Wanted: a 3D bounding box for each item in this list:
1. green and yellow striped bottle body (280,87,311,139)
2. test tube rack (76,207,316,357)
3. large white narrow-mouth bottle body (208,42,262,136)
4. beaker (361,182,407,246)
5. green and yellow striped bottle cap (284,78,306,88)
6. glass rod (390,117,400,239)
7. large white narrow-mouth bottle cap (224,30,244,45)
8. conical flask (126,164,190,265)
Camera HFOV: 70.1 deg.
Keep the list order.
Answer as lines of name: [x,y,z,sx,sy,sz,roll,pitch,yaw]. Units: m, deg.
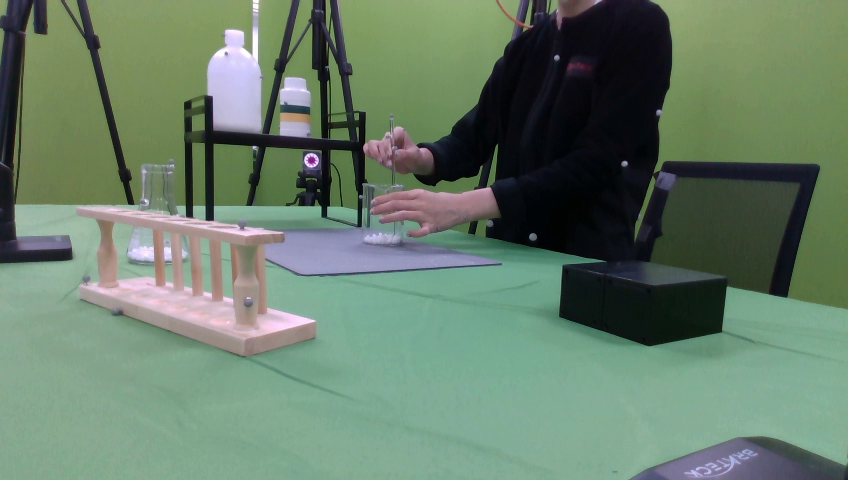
green and yellow striped bottle body: [-0.269,-0.274,1.266,0.063,0.119,0.063,3,7,0]
test tube rack: [-0.196,0.023,0.500,0.241,0.085,0.067,8,9,36]
large white narrow-mouth bottle body: [-0.369,-0.304,1.181,0.102,0.194,0.101,2,9,0]
beaker: [-0.066,-0.043,0.993,0.074,0.100,0.084,1,8,-7]
green and yellow striped bottle cap: [-0.268,-0.325,1.259,0.045,0.020,0.045,5,8,0]
glass rod: [-0.048,-0.099,0.983,0.008,0.199,0.008,-2,8,1]
large white narrow-mouth bottle cap: [-0.365,-0.389,1.166,0.038,0.024,0.037,2,9,0]
conical flask: [-0.332,-0.033,0.756,0.075,0.122,0.075,2,7,0]
